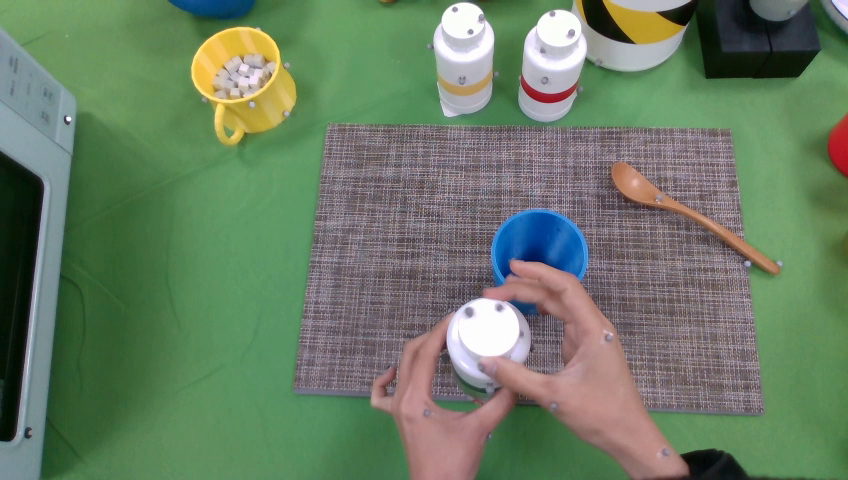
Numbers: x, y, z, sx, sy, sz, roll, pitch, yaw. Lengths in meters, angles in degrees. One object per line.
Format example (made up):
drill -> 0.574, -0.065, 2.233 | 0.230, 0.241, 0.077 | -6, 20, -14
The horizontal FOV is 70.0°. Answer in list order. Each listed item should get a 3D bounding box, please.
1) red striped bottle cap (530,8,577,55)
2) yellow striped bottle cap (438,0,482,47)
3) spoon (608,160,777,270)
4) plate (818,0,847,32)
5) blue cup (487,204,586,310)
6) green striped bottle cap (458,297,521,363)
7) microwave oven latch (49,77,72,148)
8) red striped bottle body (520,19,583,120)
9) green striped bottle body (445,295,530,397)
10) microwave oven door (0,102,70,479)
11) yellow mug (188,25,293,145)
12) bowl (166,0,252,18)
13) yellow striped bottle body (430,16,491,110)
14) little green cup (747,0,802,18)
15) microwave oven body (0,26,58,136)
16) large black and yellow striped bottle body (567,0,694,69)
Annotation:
red striped bottle cap -> 0.127, -0.203, 0.590 | 0.044, 0.018, 0.044 | 0, 69, 0
yellow striped bottle cap -> 0.036, -0.215, 0.602 | 0.044, 0.019, 0.044 | -1, 72, 4
spoon -> 0.273, -0.026, 0.621 | 0.193, 0.022, 0.041 | 33, 51, 14
plate -> 0.546, -0.296, 0.691 | 0.209, 0.038, 0.207 | -1, 71, 4
blue cup -> 0.100, 0.026, 0.573 | 0.092, 0.101, 0.092 | -1, 69, 2
green striped bottle cap -> 0.046, 0.063, 0.426 | 0.044, 0.020, 0.044 | -4, 58, 6
microwave oven latch -> -0.422, -0.143, 0.689 | 0.030, 0.030, 0.078 | -6, 71, 2
red striped bottle body -> 0.133, -0.184, 0.639 | 0.063, 0.120, 0.062 | -3, 68, 8
green striped bottle body -> 0.049, 0.083, 0.476 | 0.063, 0.120, 0.062 | -1, 66, 4
microwave oven door -> -0.408, 0.027, 0.521 | 0.039, 0.245, 0.353 | -8, 70, 2
yellow mug -> -0.211, -0.169, 0.688 | 0.100, 0.064, 0.130 | 11, 72, 7
bowl -> -0.256, -0.328, 0.741 | 0.151, 0.077, 0.150 | -1, 71, 3
yellow striped bottle body -> 0.040, -0.198, 0.650 | 0.063, 0.121, 0.062 | -2, 70, 5
little green cup -> 0.375, -0.269, 0.640 | 0.061, 0.039, 0.061 | -1, 69, 3
microwave oven body -> -0.557, 0.008, 0.544 | 0.326, 0.262, 0.438 | -8, 71, 1
large black and yellow striped bottle body -> 0.225, -0.285, 0.633 | 0.131, 0.185, 0.130 | -1, 70, 4
